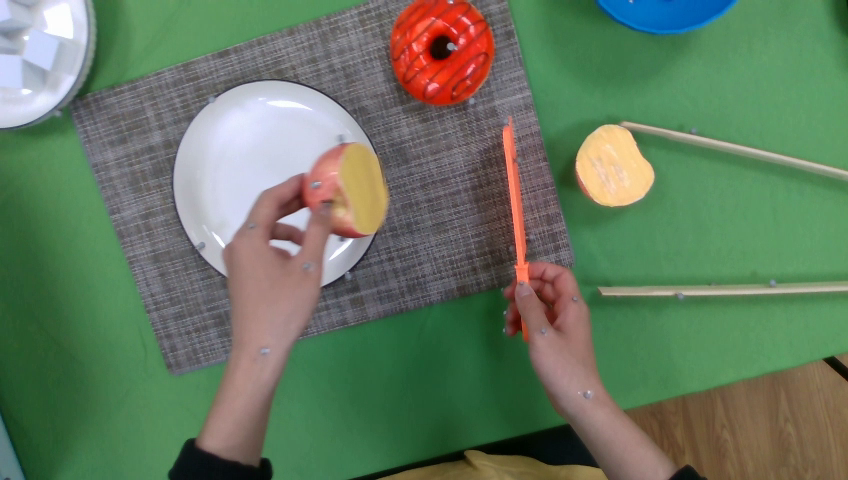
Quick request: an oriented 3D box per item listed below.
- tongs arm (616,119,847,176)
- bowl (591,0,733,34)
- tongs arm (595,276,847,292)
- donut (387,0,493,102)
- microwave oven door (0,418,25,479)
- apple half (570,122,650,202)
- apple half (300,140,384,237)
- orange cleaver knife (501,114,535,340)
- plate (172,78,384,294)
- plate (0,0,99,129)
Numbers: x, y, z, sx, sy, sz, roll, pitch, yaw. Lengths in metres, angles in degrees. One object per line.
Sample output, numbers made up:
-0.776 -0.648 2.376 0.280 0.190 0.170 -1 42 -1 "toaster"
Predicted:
0.370 -0.062 0.573 0.387 0.028 0.028 14 93 1 "tongs arm"
0.200 -0.252 0.525 0.151 0.076 0.152 1 101 4 "bowl"
0.363 0.023 0.586 0.385 0.026 0.051 0 96 3 "tongs arm"
0.014 -0.179 0.563 0.099 0.048 0.099 1 101 6 "donut"
-0.504 0.154 0.540 0.039 0.243 0.356 -14 98 6 "microwave oven door"
0.171 -0.070 0.580 0.081 0.033 0.081 2 81 -10 "apple half"
-0.074 -0.043 0.519 0.053 0.074 0.081 -6 117 25 "apple half"
0.090 -0.013 0.572 0.012 0.077 0.212 -5 100 15 "orange cleaver knife"
-0.141 -0.052 0.599 0.209 0.038 0.209 1 100 4 "plate"
-0.414 -0.213 0.592 0.207 0.039 0.208 1 100 4 "plate"
